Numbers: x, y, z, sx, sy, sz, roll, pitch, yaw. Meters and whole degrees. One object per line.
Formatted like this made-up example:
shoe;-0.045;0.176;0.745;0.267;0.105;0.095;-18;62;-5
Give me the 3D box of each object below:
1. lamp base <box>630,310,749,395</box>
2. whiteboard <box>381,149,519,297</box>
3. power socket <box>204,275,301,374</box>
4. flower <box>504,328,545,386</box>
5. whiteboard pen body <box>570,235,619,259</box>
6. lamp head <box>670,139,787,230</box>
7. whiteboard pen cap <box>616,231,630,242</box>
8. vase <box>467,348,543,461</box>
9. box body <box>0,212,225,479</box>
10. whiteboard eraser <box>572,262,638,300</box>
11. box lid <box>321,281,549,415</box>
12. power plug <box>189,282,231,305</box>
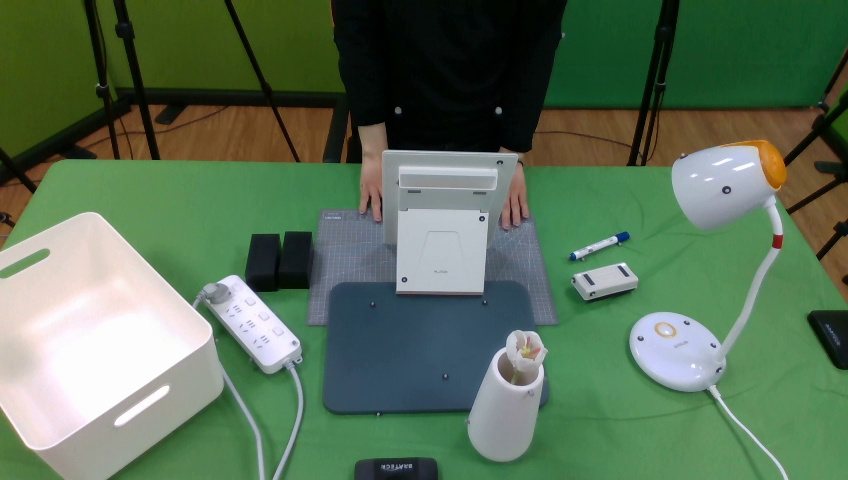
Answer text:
lamp base;0.447;0.143;0.984;0.161;0.181;0.178;-24;55;-24
whiteboard;0.033;-0.008;1.042;0.217;0.307;0.143;2;61;-2
power socket;-0.296;0.140;1.035;0.072;0.033;0.225;-33;57;-29
flower;0.114;0.189;0.790;0.044;0.363;0.038;34;69;19
whiteboard pen body;0.351;0.010;1.215;0.141;0.017;0.017;-20;51;-23
lamp head;0.415;-0.078;0.812;0.113;0.123;0.112;12;70;-37
whiteboard pen cap;0.403;-0.007;1.235;0.033;0.018;0.018;-19;50;-24
vase;0.116;0.235;0.860;0.098;0.201;0.097;1;47;-1
box body;-0.506;0.155;0.916;0.362;0.161;0.254;35;54;26
whiteboard eraser;0.338;0.079;1.133;0.113;0.042;0.055;-12;46;-15
box lid;0.013;0.174;1.040;0.372;0.015;0.261;0;47;-5
power plug;-0.368;0.097;1.038;0.072;0.053;0.035;-27;55;-21
